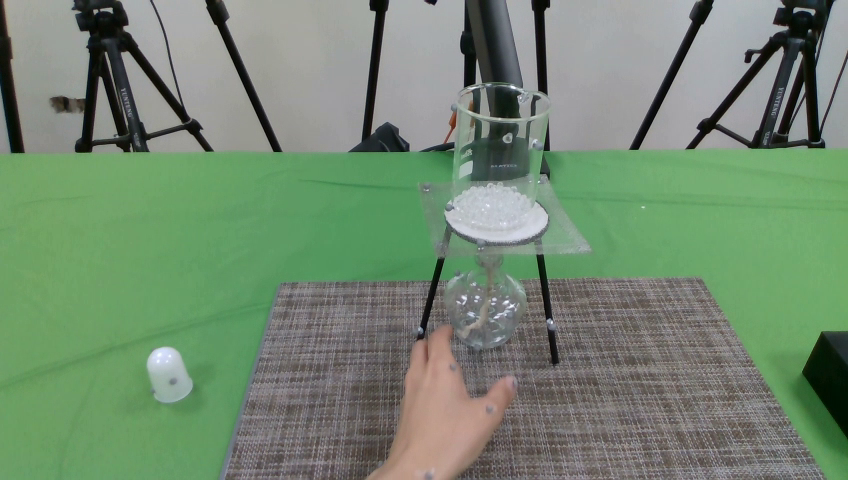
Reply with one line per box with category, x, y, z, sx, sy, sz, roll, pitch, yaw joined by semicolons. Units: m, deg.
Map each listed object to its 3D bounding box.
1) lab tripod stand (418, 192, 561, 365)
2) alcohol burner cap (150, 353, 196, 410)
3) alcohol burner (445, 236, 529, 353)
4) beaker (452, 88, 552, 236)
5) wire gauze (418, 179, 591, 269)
lab tripod stand;0.066;0.035;0.547;0.148;0.132;0.147;1;34;-1
alcohol burner cap;-0.216;0.118;0.516;0.034;0.048;0.033;0;34;0
alcohol burner;0.058;0.045;0.550;0.078;0.120;0.077;1;36;0
beaker;0.060;-0.062;0.485;0.073;0.101;0.084;21;39;25
wire gauze;0.062;-0.016;0.506;0.125;0.011;0.120;0;36;-8
